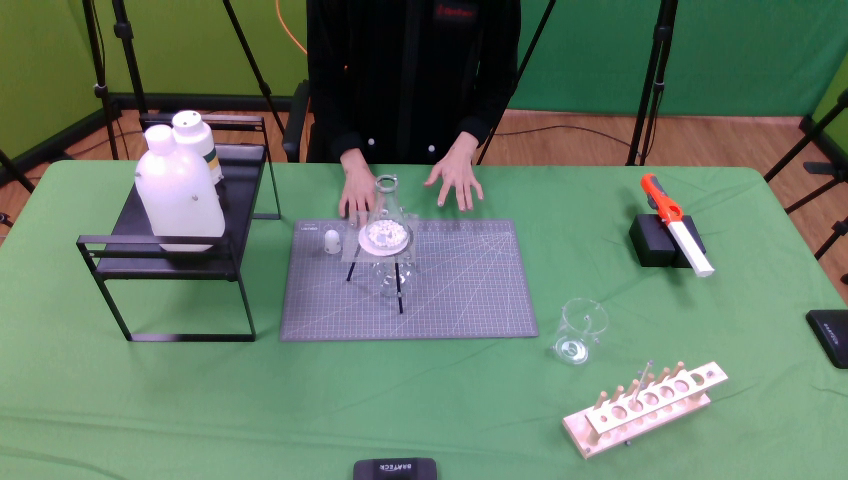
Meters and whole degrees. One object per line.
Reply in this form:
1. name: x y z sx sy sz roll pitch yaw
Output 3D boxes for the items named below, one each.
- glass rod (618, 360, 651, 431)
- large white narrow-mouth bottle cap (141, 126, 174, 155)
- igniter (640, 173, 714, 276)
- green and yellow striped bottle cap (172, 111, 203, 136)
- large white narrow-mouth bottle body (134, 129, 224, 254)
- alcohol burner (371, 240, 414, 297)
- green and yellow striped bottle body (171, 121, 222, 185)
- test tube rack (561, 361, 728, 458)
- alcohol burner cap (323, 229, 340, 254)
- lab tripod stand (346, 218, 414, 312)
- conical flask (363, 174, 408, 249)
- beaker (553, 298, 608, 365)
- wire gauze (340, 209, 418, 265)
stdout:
1. glass rod: 0.298 0.227 0.865 0.008 0.201 0.008 -2 48 2
2. large white narrow-mouth bottle cap: -0.356 -0.133 0.811 0.038 0.024 0.037 2 48 -2
3. igniter: 0.495 -0.039 1.204 0.057 0.025 0.274 -2 47 -12
4. green and yellow striped bottle cap: -0.374 -0.185 0.958 0.045 0.020 0.045 4 46 -4
5. large white narrow-mouth bottle body: -0.358 -0.075 0.875 0.102 0.195 0.101 2 48 -1
6. alcohol burner: -0.057 0.046 1.082 0.078 0.120 0.077 1 47 0
7. green and yellow striped bottle body: -0.375 -0.149 0.995 0.063 0.120 0.063 2 46 -2
8. test tube rack: 0.341 0.248 0.940 0.243 0.085 0.066 -15 49 -18
9. alcohol burner cap: -0.179 0.001 1.165 0.034 0.048 0.033 2 45 -2
10. lab tripod stand: -0.070 0.037 1.075 0.148 0.132 0.147 1 47 -1
11. conical flask: -0.063 -0.050 0.985 0.075 0.122 0.075 2 46 -2
12. beaker: 0.260 0.154 1.015 0.073 0.101 0.084 37 54 27
13. wire gauze: -0.074 -0.006 1.024 0.121 0.011 0.124 2 48 1
